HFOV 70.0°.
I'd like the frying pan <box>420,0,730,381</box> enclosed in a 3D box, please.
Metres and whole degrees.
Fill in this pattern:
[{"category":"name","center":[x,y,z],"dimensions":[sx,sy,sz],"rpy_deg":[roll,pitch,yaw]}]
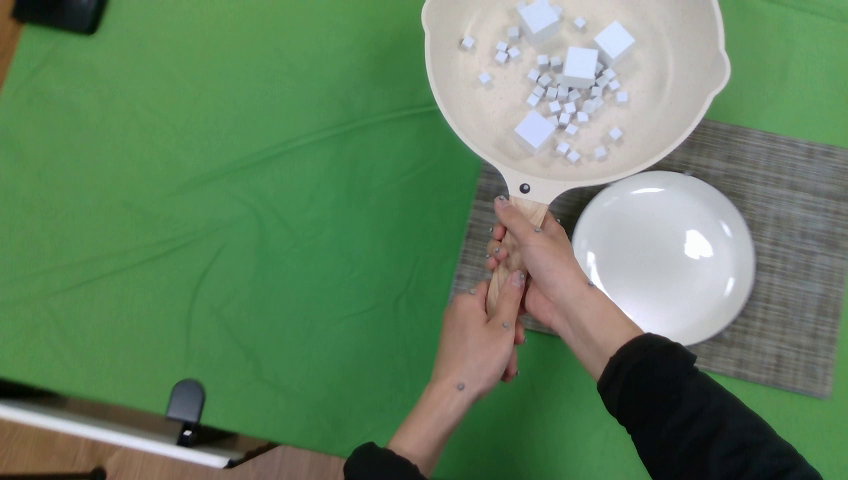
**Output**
[{"category":"frying pan","center":[0.117,-0.100,0.603],"dimensions":[0.306,0.103,0.486],"rpy_deg":[16,77,8]}]

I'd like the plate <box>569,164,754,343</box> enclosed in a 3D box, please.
[{"category":"plate","center":[0.271,0.016,0.706],"dimensions":[0.207,0.039,0.207],"rpy_deg":[0,81,2]}]
